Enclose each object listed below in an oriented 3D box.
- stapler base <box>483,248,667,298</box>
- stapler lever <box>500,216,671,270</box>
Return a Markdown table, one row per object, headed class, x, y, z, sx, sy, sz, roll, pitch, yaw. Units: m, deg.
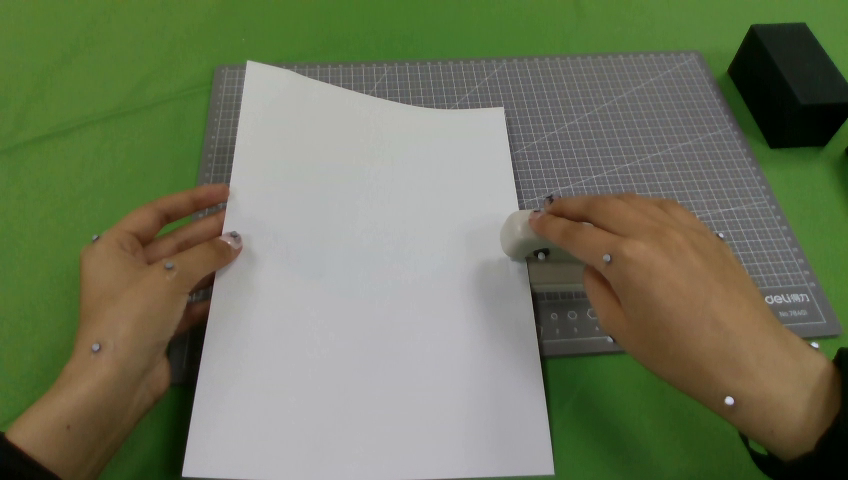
| class | x | y | z | sx | sy | sz | roll | pitch | yaw |
| --- | --- | --- | --- | --- | --- | --- | --- | --- | --- |
| stapler base | 0.108 | 0.017 | 0.427 | 0.131 | 0.024 | 0.041 | -1 | 57 | -5 |
| stapler lever | 0.110 | 0.003 | 0.407 | 0.118 | 0.040 | 0.026 | -2 | 57 | -4 |
